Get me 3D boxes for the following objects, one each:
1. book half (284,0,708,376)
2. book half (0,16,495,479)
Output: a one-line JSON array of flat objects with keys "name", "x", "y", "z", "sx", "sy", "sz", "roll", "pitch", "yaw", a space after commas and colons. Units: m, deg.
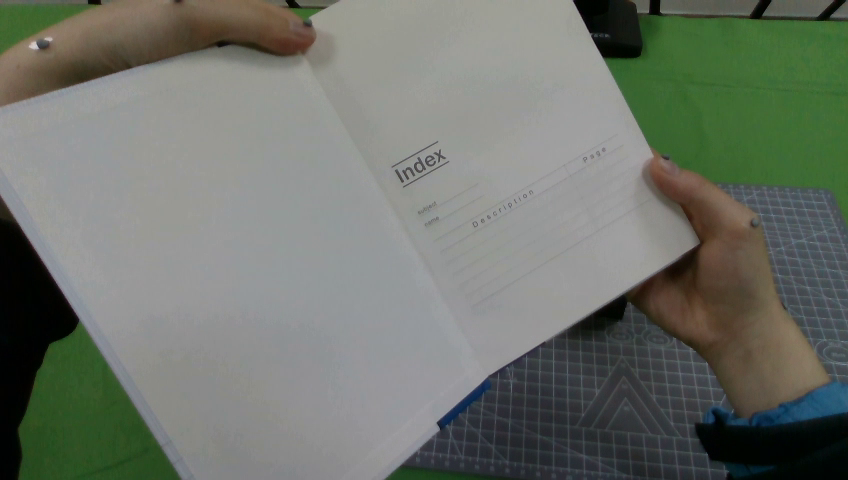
[{"name": "book half", "x": 0.045, "y": -0.054, "z": 0.316, "sx": 0.148, "sy": 0.016, "sz": 0.210, "roll": -29, "pitch": 93, "yaw": -7}, {"name": "book half", "x": -0.066, "y": 0.014, "z": 0.252, "sx": 0.143, "sy": 0.007, "sz": 0.210, "roll": -32, "pitch": 96, "yaw": -36}]
